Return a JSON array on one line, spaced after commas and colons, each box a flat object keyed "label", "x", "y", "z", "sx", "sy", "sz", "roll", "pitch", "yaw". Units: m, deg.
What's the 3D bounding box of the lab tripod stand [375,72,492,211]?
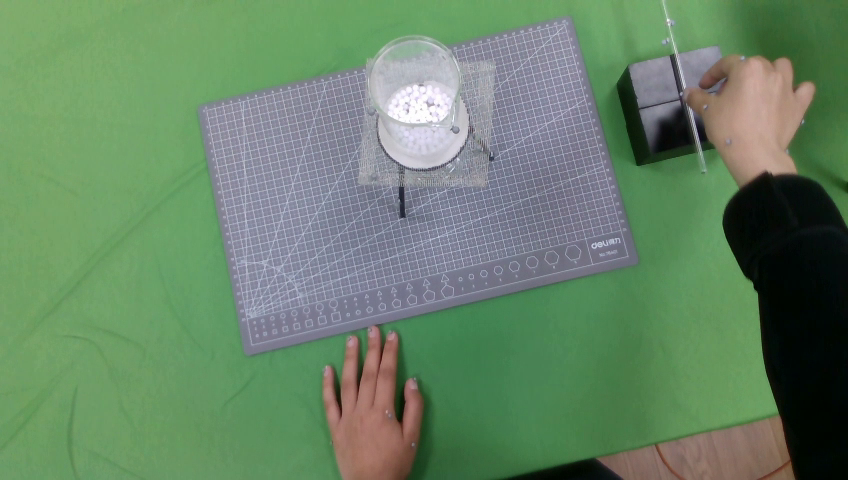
[{"label": "lab tripod stand", "x": -0.002, "y": -0.108, "z": 0.630, "sx": 0.148, "sy": 0.132, "sz": 0.148, "roll": -1, "pitch": 83, "yaw": 4}]

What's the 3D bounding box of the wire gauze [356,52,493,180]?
[{"label": "wire gauze", "x": 0.001, "y": -0.116, "z": 0.564, "sx": 0.121, "sy": 0.011, "sz": 0.124, "roll": 4, "pitch": 81, "yaw": 2}]

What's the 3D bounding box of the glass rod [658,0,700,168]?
[{"label": "glass rod", "x": 0.270, "y": -0.172, "z": 0.644, "sx": 0.008, "sy": 0.008, "sz": 0.199, "roll": -9, "pitch": 83, "yaw": 1}]

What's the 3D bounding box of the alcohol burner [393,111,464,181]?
[{"label": "alcohol burner", "x": 0.003, "y": -0.103, "z": 0.639, "sx": 0.078, "sy": 0.119, "sz": 0.077, "roll": 0, "pitch": 84, "yaw": 4}]

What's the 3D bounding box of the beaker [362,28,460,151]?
[{"label": "beaker", "x": -0.004, "y": -0.120, "z": 0.516, "sx": 0.074, "sy": 0.100, "sz": 0.083, "roll": -41, "pitch": 82, "yaw": -2}]
